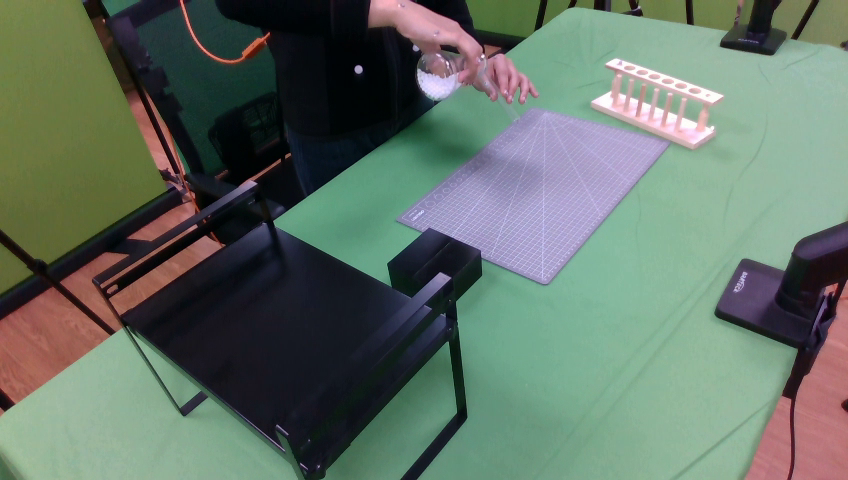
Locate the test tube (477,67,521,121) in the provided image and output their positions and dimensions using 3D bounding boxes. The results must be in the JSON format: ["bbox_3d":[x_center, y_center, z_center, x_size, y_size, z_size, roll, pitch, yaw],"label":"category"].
[{"bbox_3d":[0.131,-0.247,1.037,0.017,0.151,0.017,-15,61,29],"label":"test tube"}]

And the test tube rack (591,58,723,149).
[{"bbox_3d":[0.442,-0.269,1.171,0.067,0.085,0.240,-30,46,-24],"label":"test tube rack"}]

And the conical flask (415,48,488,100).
[{"bbox_3d":[0.050,-0.264,0.931,0.075,0.075,0.122,25,37,32],"label":"conical flask"}]
